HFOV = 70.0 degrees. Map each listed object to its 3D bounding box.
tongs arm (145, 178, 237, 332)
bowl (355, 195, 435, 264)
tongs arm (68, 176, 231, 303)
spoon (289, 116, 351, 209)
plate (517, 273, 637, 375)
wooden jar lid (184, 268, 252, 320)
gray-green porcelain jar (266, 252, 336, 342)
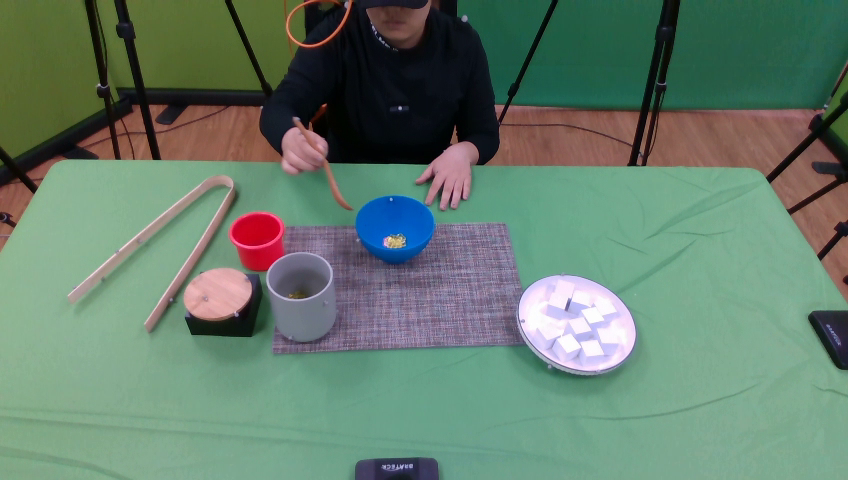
[{"bbox_3d":[-0.432,0.014,1.149,0.028,0.028,0.385,8,46,7],"label":"tongs arm"},{"bbox_3d":[-0.056,-0.008,1.158,0.151,0.077,0.150,2,46,-2],"label":"bowl"},{"bbox_3d":[-0.510,-0.010,1.162,0.050,0.026,0.383,20,47,14],"label":"tongs arm"},{"bbox_3d":[-0.179,-0.131,1.053,0.021,0.194,0.041,-30,25,-10],"label":"spoon"},{"bbox_3d":[0.264,0.149,1.060,0.209,0.038,0.208,3,46,-3],"label":"plate"},{"bbox_3d":[-0.343,0.092,1.015,0.108,0.021,0.107,3,46,-3],"label":"wooden jar lid"},{"bbox_3d":[-0.202,0.100,1.009,0.106,0.127,0.105,2,46,-2],"label":"gray-green porcelain jar"}]
